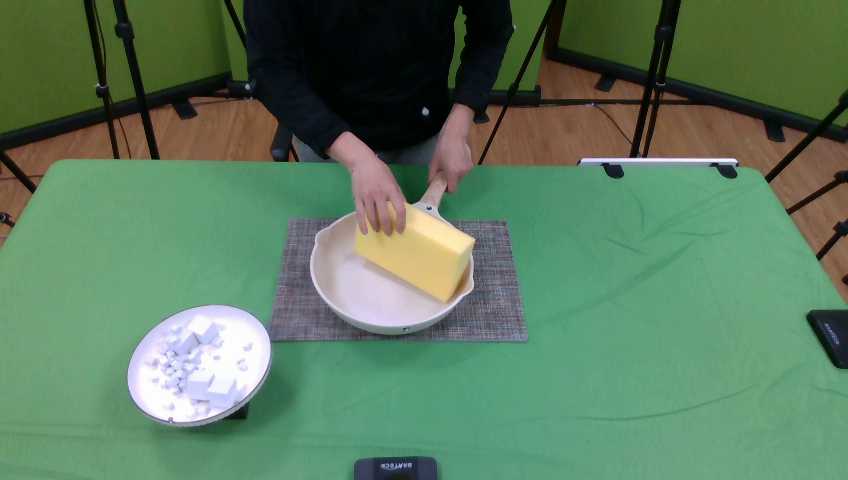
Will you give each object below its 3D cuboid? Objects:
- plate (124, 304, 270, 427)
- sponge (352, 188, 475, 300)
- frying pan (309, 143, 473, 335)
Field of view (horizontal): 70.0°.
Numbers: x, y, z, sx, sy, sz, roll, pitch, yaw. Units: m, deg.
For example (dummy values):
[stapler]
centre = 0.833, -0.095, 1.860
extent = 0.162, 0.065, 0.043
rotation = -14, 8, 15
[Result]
[plate]
centre = -0.336, 0.189, 0.913
extent = 0.208, 0.039, 0.206
rotation = 1, 46, -1
[sponge]
centre = -0.023, 0.007, 1.092
extent = 0.206, 0.118, 0.061
rotation = 27, 41, 13
[frying pan]
centre = -0.018, -0.022, 1.155
extent = 0.306, 0.103, 0.486
rotation = 20, 56, 13
